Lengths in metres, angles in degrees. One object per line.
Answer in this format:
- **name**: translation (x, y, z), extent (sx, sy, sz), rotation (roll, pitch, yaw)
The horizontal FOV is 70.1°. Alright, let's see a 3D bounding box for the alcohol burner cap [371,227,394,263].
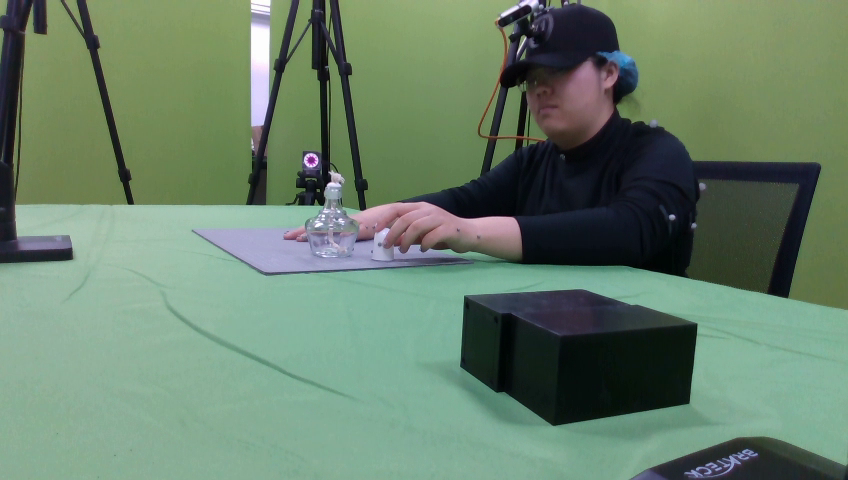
- **alcohol burner cap**: translation (-0.057, 0.006, 0.836), extent (0.034, 0.048, 0.034), rotation (3, 4, 0)

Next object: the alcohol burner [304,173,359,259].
- **alcohol burner**: translation (-0.130, -0.034, 0.851), extent (0.078, 0.119, 0.078), rotation (2, 5, 0)
